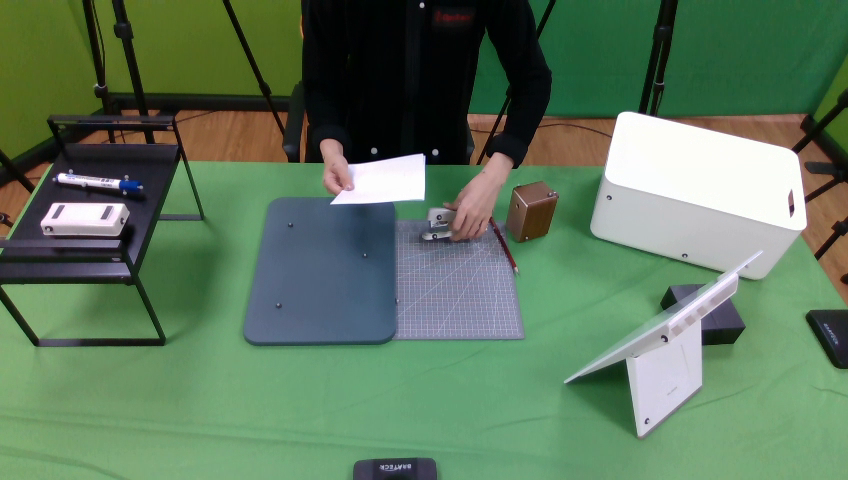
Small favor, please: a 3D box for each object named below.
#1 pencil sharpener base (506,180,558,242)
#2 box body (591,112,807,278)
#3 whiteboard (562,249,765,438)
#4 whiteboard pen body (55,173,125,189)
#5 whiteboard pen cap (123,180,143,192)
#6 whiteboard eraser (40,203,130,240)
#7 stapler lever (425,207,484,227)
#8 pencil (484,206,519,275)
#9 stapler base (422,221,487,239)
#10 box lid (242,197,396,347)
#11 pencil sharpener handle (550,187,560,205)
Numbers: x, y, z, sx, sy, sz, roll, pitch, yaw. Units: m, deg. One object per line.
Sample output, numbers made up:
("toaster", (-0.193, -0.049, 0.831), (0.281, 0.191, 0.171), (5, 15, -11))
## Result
("pencil sharpener base", (0.216, -0.058, 1.211), (0.077, 0.107, 0.061), (-16, 49, -19))
("box body", (0.540, -0.092, 1.229), (0.363, 0.161, 0.253), (16, 47, 11))
("whiteboard", (0.386, 0.175, 0.905), (0.217, 0.306, 0.143), (-26, 72, -26))
("whiteboard pen body", (-0.539, -0.095, 0.998), (0.141, 0.017, 0.017), (6, 46, 6))
("whiteboard pen cap", (-0.479, -0.089, 0.993), (0.033, 0.018, 0.018), (7, 46, 14))
("whiteboard eraser", (-0.513, -0.028, 0.922), (0.113, 0.042, 0.055), (1, 48, -3))
("stapler lever", (0.059, -0.050, 1.202), (0.118, 0.040, 0.026), (-8, 20, -14))
("pencil", (0.156, -0.001, 1.218), (0.012, 0.012, 0.192), (-9, 48, -13))
("stapler base", (0.059, -0.026, 1.209), (0.131, 0.024, 0.041), (-8, 20, -14))
("box lid", (-0.186, 0.046, 1.147), (0.263, 0.015, 0.369), (0, 46, -3))
("pencil sharpener handle", (0.261, -0.084, 1.221), (0.031, 0.068, 0.036), (-16, 66, -19))
